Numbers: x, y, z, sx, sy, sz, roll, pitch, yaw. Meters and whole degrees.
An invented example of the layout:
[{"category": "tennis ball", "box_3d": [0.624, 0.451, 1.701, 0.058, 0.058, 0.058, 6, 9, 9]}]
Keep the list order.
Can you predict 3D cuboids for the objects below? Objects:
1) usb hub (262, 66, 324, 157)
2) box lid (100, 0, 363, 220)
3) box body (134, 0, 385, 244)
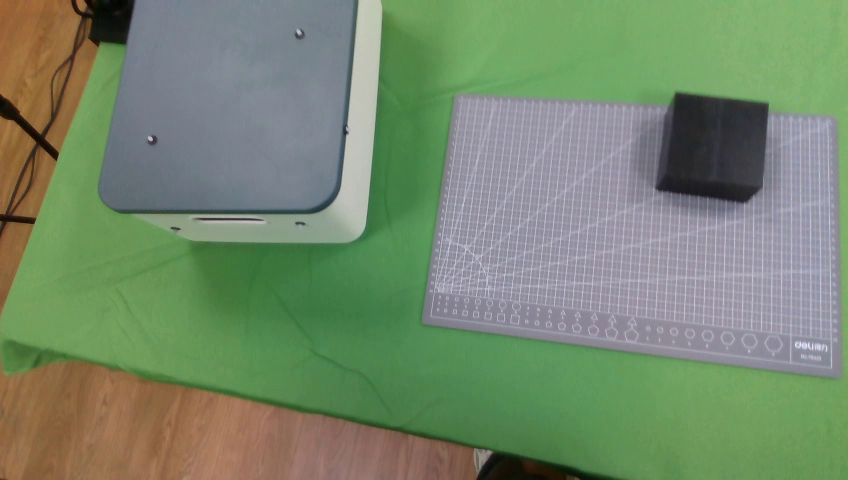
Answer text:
[{"category": "usb hub", "box_3d": [-0.168, -0.167, 0.782, 0.049, 0.025, 0.124, 6, 69, 12]}, {"category": "box lid", "box_3d": [-0.201, -0.199, 0.659, 0.263, 0.015, 0.369, 1, 75, 9]}, {"category": "box body", "box_3d": [-0.190, -0.180, 0.730, 0.254, 0.161, 0.362, 1, 75, 8]}]
